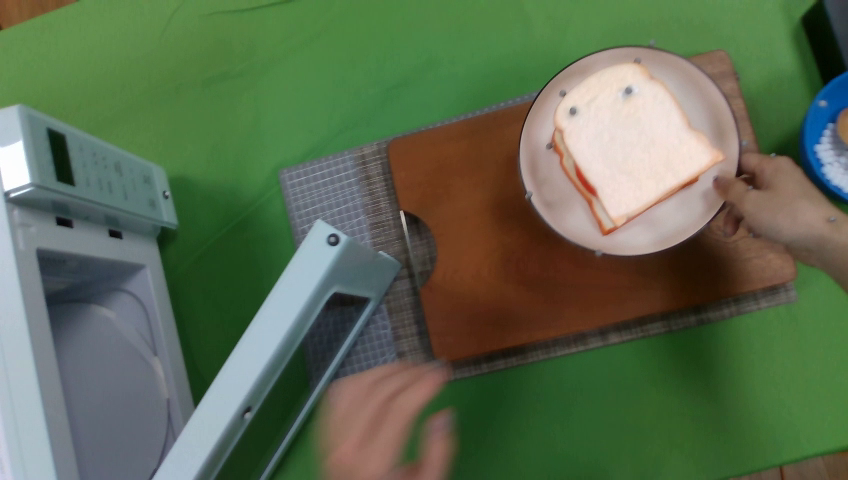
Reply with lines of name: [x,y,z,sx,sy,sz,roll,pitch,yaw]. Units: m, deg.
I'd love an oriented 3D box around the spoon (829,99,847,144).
spoon: [0.466,-0.063,0.601,0.041,0.022,0.192,-17,59,4]

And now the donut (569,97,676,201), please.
donut: [0.188,-0.086,0.579,0.099,0.048,0.099,0,88,9]

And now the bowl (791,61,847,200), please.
bowl: [0.456,-0.106,0.638,0.151,0.077,0.151,-1,84,8]

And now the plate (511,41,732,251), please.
plate: [0.193,-0.091,0.608,0.207,0.039,0.207,-1,86,11]

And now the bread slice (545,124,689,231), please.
bread slice: [0.185,-0.089,0.611,0.105,0.019,0.131,-32,82,6]

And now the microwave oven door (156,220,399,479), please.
microwave oven door: [-0.151,0.150,0.592,0.039,0.245,0.355,31,89,11]

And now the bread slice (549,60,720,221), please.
bread slice: [0.178,-0.095,0.551,0.107,0.018,0.133,-37,74,8]

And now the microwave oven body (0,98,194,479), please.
microwave oven body: [-0.438,0.140,0.637,0.326,0.261,0.440,-18,82,5]

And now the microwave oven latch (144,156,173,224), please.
microwave oven latch: [-0.334,-0.061,0.742,0.030,0.029,0.079,-18,82,5]
